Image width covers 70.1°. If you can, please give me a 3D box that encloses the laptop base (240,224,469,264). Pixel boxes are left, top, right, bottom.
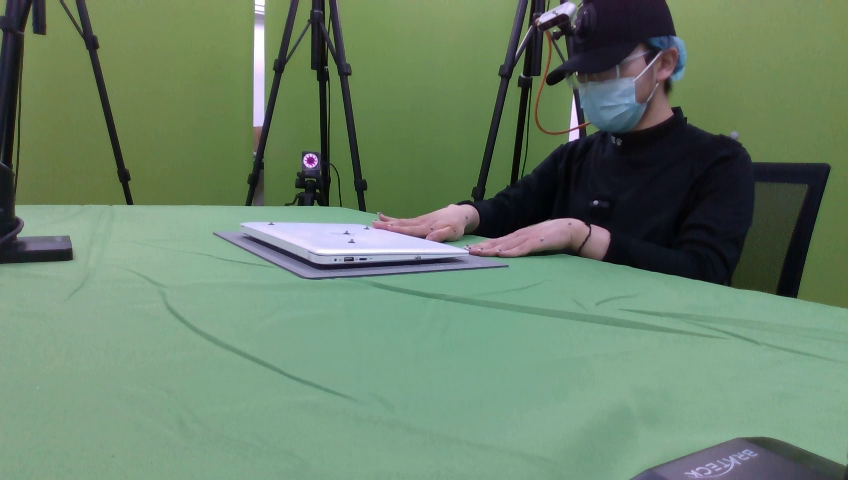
[{"bbox_3d":[-0.123,0.005,0.936,0.237,0.023,0.352,2,6,-33],"label":"laptop base"}]

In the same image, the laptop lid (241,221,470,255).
[{"bbox_3d":[-0.121,-0.007,0.936,0.243,0.013,0.355,1,7,-31],"label":"laptop lid"}]
